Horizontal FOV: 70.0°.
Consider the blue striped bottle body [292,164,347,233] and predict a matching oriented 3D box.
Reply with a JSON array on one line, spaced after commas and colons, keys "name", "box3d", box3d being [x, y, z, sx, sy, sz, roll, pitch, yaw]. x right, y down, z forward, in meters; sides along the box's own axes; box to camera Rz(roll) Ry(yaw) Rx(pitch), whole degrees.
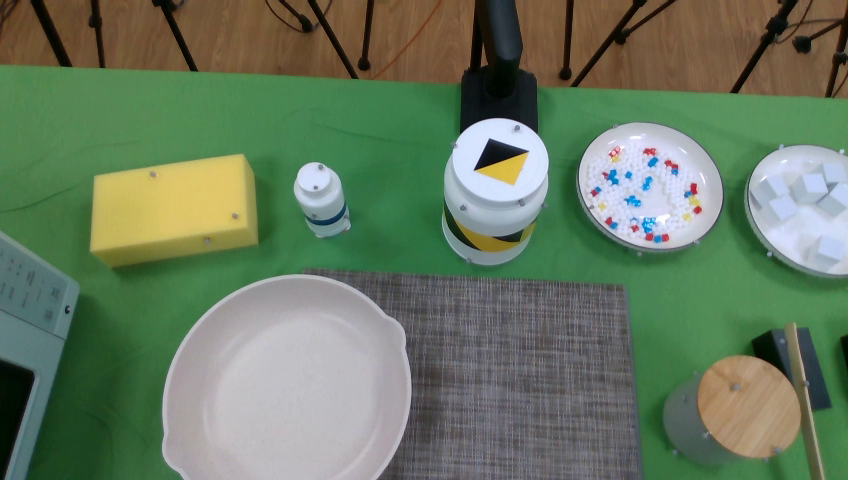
[{"name": "blue striped bottle body", "box3d": [-0.143, -0.062, 0.826, 0.063, 0.121, 0.062, 0, 67, 0]}]

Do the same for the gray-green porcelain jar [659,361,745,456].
[{"name": "gray-green porcelain jar", "box3d": [0.346, 0.199, 0.718, 0.106, 0.127, 0.105, 0, 67, 0]}]

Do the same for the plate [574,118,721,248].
[{"name": "plate", "box3d": [0.321, -0.081, 0.883, 0.209, 0.038, 0.207, 0, 67, 0]}]

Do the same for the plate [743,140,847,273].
[{"name": "plate", "box3d": [0.560, -0.046, 0.869, 0.208, 0.039, 0.206, 0, 67, 0]}]

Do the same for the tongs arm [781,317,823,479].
[{"name": "tongs arm", "box3d": [0.474, 0.281, 0.702, 0.051, 0.026, 0.383, -1, 77, -3]}]

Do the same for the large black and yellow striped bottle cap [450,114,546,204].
[{"name": "large black and yellow striped bottle cap", "box3d": [0.088, -0.097, 0.717, 0.115, 0.019, 0.114, 0, 69, 0]}]

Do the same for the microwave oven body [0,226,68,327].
[{"name": "microwave oven body", "box3d": [-0.637, 0.193, 0.635, 0.326, 0.262, 0.438, 3, 68, 1]}]

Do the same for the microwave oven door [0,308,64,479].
[{"name": "microwave oven door", "box3d": [-0.494, 0.238, 0.612, 0.039, 0.245, 0.353, 3, 67, 1]}]

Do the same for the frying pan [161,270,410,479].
[{"name": "frying pan", "box3d": [-0.114, 0.261, 0.697, 0.307, 0.103, 0.483, -27, 62, -10]}]

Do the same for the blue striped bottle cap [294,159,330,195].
[{"name": "blue striped bottle cap", "box3d": [-0.144, -0.082, 0.778, 0.044, 0.021, 0.044, 1, 67, -3]}]

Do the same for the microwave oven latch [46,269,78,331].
[{"name": "microwave oven latch", "box3d": [-0.478, 0.077, 0.789, 0.030, 0.030, 0.078, 6, 68, 2]}]

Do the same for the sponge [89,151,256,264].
[{"name": "sponge", "box3d": [-0.348, -0.046, 0.850, 0.207, 0.061, 0.117, -10, 68, -5]}]

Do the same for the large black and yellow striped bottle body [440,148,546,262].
[{"name": "large black and yellow striped bottle body", "box3d": [0.087, -0.062, 0.794, 0.131, 0.185, 0.130, 0, 67, 0]}]

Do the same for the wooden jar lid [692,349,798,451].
[{"name": "wooden jar lid", "box3d": [0.347, 0.174, 0.660, 0.108, 0.021, 0.107, -1, 70, 3]}]
